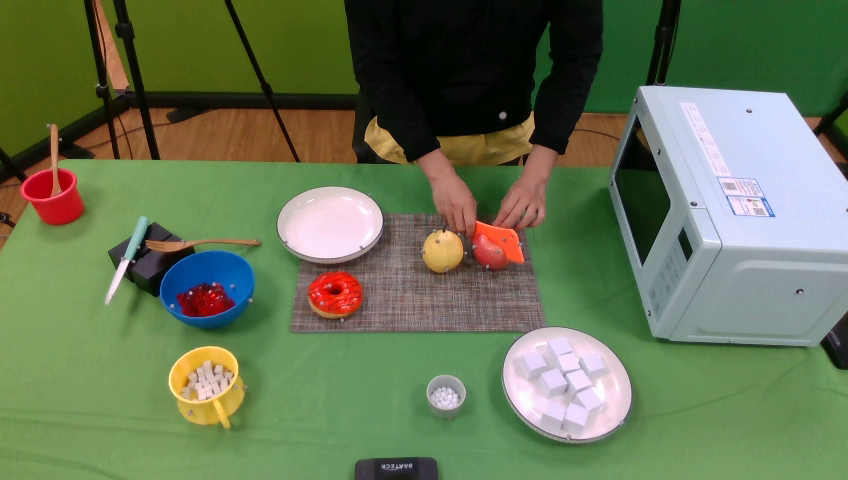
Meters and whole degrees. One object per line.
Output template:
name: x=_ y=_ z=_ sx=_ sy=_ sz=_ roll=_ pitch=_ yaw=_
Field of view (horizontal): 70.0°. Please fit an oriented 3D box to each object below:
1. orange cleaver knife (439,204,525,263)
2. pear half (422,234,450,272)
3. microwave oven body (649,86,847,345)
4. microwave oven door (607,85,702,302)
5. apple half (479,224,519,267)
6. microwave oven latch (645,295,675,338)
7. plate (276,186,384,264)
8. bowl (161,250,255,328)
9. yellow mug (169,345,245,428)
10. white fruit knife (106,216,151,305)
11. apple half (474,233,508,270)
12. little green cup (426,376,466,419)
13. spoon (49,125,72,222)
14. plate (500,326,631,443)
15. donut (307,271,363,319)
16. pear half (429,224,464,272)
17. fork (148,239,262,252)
orange cleaver knife: x=0.107 y=-0.013 z=1.146 sx=0.012 sy=0.077 sz=0.210 roll=-33 pitch=39 yaw=-30
pear half: x=0.018 y=0.027 z=1.122 sx=0.031 sy=0.088 sz=0.070 roll=-32 pitch=61 yaw=-30
microwave oven body: x=0.567 y=-0.053 z=1.119 sx=0.326 sy=0.261 sz=0.439 roll=2 pitch=45 yaw=-1
microwave oven door: x=0.423 y=-0.094 z=1.140 sx=0.039 sy=0.245 sz=0.353 roll=2 pitch=46 yaw=-1
apple half: x=0.150 y=0.007 z=1.160 sx=0.053 sy=0.075 sz=0.080 roll=-29 pitch=50 yaw=-29
microwave oven latch: x=0.412 y=0.134 z=1.061 sx=0.030 sy=0.029 sz=0.078 roll=3 pitch=45 yaw=0
plate: x=-0.184 y=-0.027 z=1.195 sx=0.209 sy=0.038 sz=0.208 roll=2 pitch=46 yaw=-2
bowl: x=-0.362 y=0.097 z=1.040 sx=0.151 sy=0.077 sz=0.150 roll=2 pitch=45 yaw=-2
yellow mug: x=-0.322 y=0.230 z=0.922 sx=0.100 sy=0.064 sz=0.130 roll=-24 pitch=53 yaw=-25
white fruit knife: x=-0.519 y=0.032 z=1.066 sx=0.027 sy=0.016 sz=0.206 roll=-18 pitch=45 yaw=19
apple half: x=0.118 y=0.030 z=1.138 sx=0.081 sy=0.082 sz=0.033 roll=37 pitch=58 yaw=28
little green cup: x=0.033 y=0.248 z=0.950 sx=0.061 sy=0.039 sz=0.061 roll=2 pitch=46 yaw=-2
spoon: x=-0.717 y=-0.131 z=1.189 sx=0.041 sy=0.021 sz=0.193 roll=-3 pitch=90 yaw=-7
plate: x=0.224 y=0.234 z=0.978 sx=0.208 sy=0.039 sz=0.206 roll=2 pitch=46 yaw=-2
donut: x=-0.157 y=0.097 z=1.073 sx=0.099 sy=0.048 sz=0.098 roll=4 pitch=45 yaw=-4
pear half: x=0.046 y=0.005 z=1.131 sx=0.056 sy=0.110 sz=0.076 roll=-32 pitch=60 yaw=-29
fork: x=-0.399 y=0.007 z=1.118 sx=0.208 sy=0.019 sz=0.028 roll=-4 pitch=34 yaw=-37
